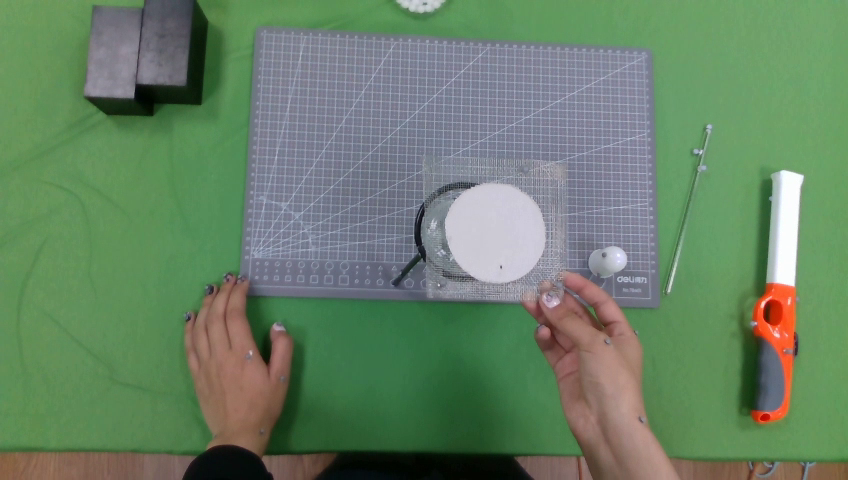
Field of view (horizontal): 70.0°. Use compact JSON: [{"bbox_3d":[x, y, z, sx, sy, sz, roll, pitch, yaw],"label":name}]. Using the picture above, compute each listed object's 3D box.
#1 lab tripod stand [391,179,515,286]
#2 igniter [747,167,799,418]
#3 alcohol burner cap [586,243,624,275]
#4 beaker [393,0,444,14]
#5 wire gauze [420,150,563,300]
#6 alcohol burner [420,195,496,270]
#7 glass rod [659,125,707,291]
[{"bbox_3d":[0.030,-0.003,0.589,0.148,0.132,0.148,0,80,-2],"label":"lab tripod stand"},{"bbox_3d":[0.383,0.056,0.662,0.057,0.025,0.275,11,81,-13],"label":"igniter"},{"bbox_3d":[0.195,0.019,0.644,0.034,0.048,0.033,0,81,-2],"label":"alcohol burner cap"},{"bbox_3d":[-0.003,-0.296,0.649,0.074,0.100,0.084,-42,87,-8],"label":"beaker"},{"bbox_3d":[0.057,-0.012,0.502,0.125,0.011,0.121,3,83,-11],"label":"wire gauze"},{"bbox_3d":[0.036,-0.011,0.601,0.078,0.119,0.077,1,79,-4],"label":"alcohol burner"},{"bbox_3d":[0.290,-0.038,0.678,0.008,0.008,0.199,19,81,-1],"label":"glass rod"}]
